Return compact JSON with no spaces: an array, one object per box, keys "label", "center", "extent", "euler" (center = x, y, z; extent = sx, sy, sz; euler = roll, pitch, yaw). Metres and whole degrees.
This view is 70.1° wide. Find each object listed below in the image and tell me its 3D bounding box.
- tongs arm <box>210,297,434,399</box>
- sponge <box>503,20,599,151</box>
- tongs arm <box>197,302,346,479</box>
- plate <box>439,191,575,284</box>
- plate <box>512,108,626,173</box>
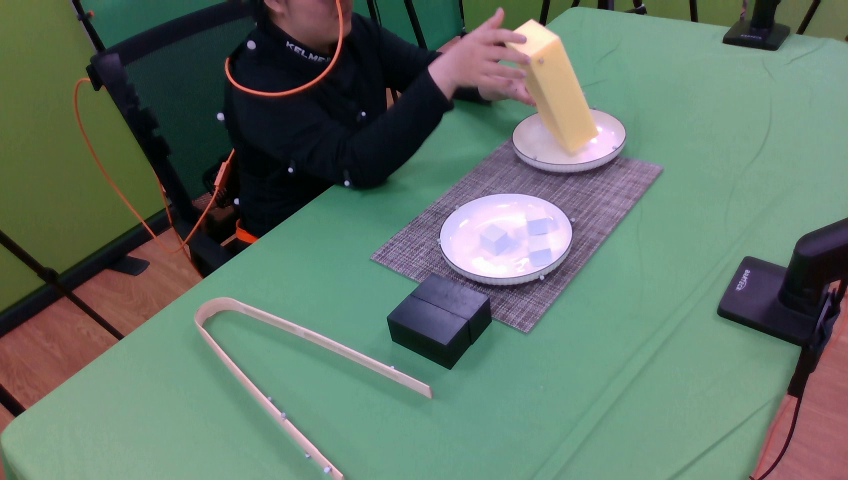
[{"label":"tongs arm","center":[-0.153,0.143,0.837],"extent":[0.385,0.028,0.028],"euler":[17,49,28]},{"label":"sponge","center":[0.225,-0.270,1.063],"extent":[0.061,0.208,0.117],"euler":[-33,37,6]},{"label":"tongs arm","center":[-0.206,0.185,0.791],"extent":[0.381,0.026,0.051],"euler":[28,51,37]},{"label":"plate","center":[0.129,-0.001,0.942],"extent":[0.207,0.039,0.206],"euler":[-5,40,5]},{"label":"plate","center":[0.269,-0.185,1.132],"extent":[0.209,0.038,0.208],"euler":[-5,40,5]}]
